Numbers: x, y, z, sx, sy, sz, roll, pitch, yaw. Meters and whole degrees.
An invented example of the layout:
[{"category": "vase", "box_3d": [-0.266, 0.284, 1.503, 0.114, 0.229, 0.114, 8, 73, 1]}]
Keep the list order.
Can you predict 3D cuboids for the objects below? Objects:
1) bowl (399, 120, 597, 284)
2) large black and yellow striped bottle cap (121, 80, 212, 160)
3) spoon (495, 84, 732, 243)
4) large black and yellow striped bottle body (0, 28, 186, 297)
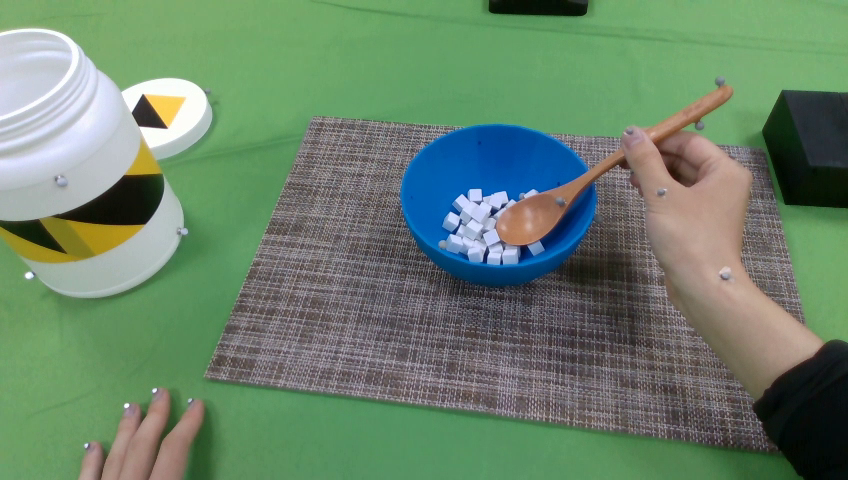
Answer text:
[{"category": "bowl", "box_3d": [0.057, -0.018, 0.491, 0.151, 0.077, 0.150, -1, 53, 2]}, {"category": "large black and yellow striped bottle cap", "box_3d": [-0.284, -0.129, 0.639, 0.115, 0.019, 0.114, 0, 52, 1]}, {"category": "spoon", "box_3d": [0.135, -0.054, 0.450, 0.194, 0.022, 0.041, -35, 52, 27]}, {"category": "large black and yellow striped bottle body", "box_3d": [-0.282, -0.055, 0.476, 0.131, 0.186, 0.129, -1, 52, 2]}]
